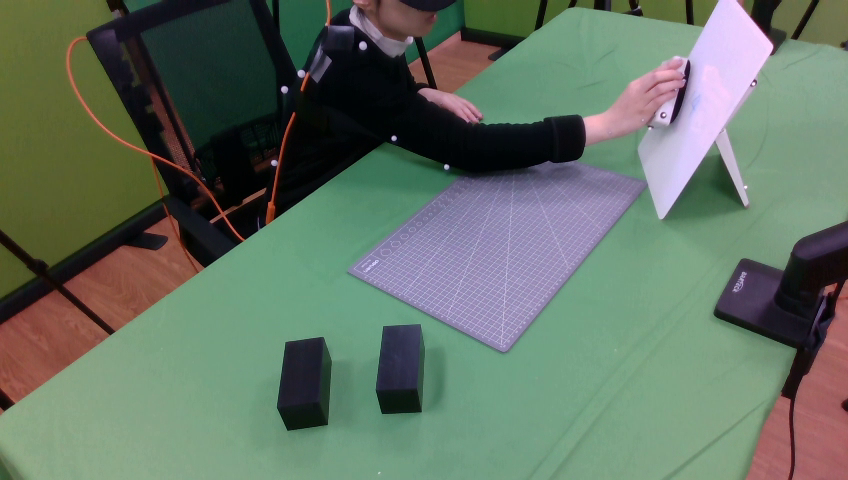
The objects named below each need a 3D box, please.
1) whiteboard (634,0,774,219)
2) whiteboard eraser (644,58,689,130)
[{"bbox_3d":[0.485,-0.192,0.957,0.144,0.305,0.216,14,41,-4],"label":"whiteboard"},{"bbox_3d":[0.404,-0.240,1.002,0.042,0.112,0.055,15,3,-8],"label":"whiteboard eraser"}]
